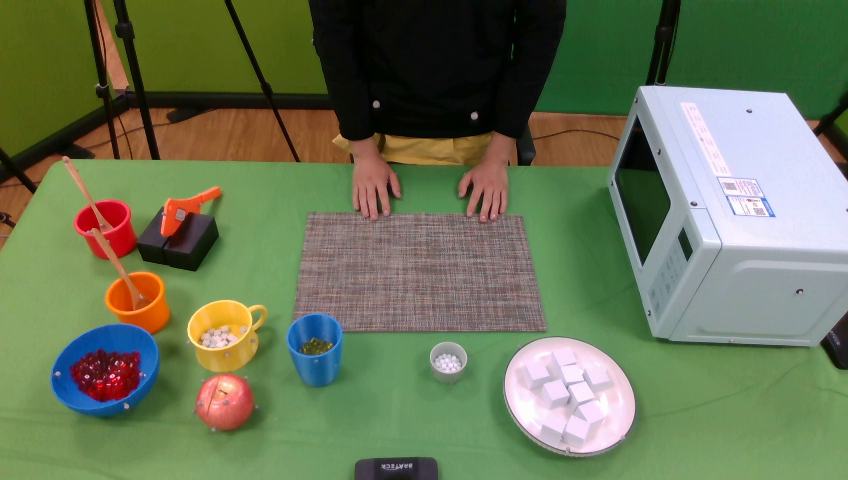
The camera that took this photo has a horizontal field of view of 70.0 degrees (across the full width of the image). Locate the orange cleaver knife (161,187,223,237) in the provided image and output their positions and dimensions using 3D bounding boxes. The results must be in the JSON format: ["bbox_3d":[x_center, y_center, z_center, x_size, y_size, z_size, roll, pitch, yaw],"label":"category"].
[{"bbox_3d":[-0.448,-0.058,1.180,0.012,0.077,0.211,13,17,6],"label":"orange cleaver knife"}]

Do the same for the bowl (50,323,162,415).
[{"bbox_3d":[-0.472,0.209,0.924,0.151,0.077,0.150,3,45,-2],"label":"bowl"}]

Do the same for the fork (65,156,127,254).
[{"bbox_3d":[-0.614,-0.064,1.130,0.028,0.018,0.207,-29,96,-15],"label":"fork"}]

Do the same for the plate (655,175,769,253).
[{"bbox_3d":[0.555,-0.047,1.183,0.209,0.038,0.208,1,46,-1],"label":"plate"}]

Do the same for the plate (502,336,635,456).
[{"bbox_3d":[0.225,0.248,0.963,0.208,0.039,0.206,2,46,-2],"label":"plate"}]

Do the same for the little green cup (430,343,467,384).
[{"bbox_3d":[0.039,0.203,0.994,0.061,0.039,0.061,2,46,-2],"label":"little green cup"}]

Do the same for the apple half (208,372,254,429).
[{"bbox_3d":[-0.283,0.244,0.908,0.053,0.075,0.080,7,42,-1],"label":"apple half"}]

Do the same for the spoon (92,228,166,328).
[{"bbox_3d":[-0.495,0.063,1.014,0.041,0.194,0.021,-34,12,-31],"label":"spoon"}]

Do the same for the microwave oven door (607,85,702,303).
[{"bbox_3d":[0.423,-0.094,1.141,0.039,0.245,0.353,2,46,-1],"label":"microwave oven door"}]

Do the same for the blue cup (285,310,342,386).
[{"bbox_3d":[-0.170,0.179,0.958,0.093,0.101,0.092,1,44,-1],"label":"blue cup"}]

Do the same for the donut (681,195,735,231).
[{"bbox_3d":[0.551,-0.054,1.177,0.099,0.048,0.098,1,36,0],"label":"donut"}]

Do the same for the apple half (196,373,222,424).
[{"bbox_3d":[-0.322,0.239,0.907,0.033,0.081,0.081,7,46,-1],"label":"apple half"}]

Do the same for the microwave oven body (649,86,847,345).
[{"bbox_3d":[0.568,-0.053,1.118,0.326,0.261,0.439,2,45,-1],"label":"microwave oven body"}]

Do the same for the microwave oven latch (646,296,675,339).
[{"bbox_3d":[0.412,0.134,1.061,0.030,0.029,0.078,4,45,1],"label":"microwave oven latch"}]

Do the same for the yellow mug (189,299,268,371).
[{"bbox_3d":[-0.316,0.148,1.002,0.131,0.064,0.099,-32,56,-32],"label":"yellow mug"}]
